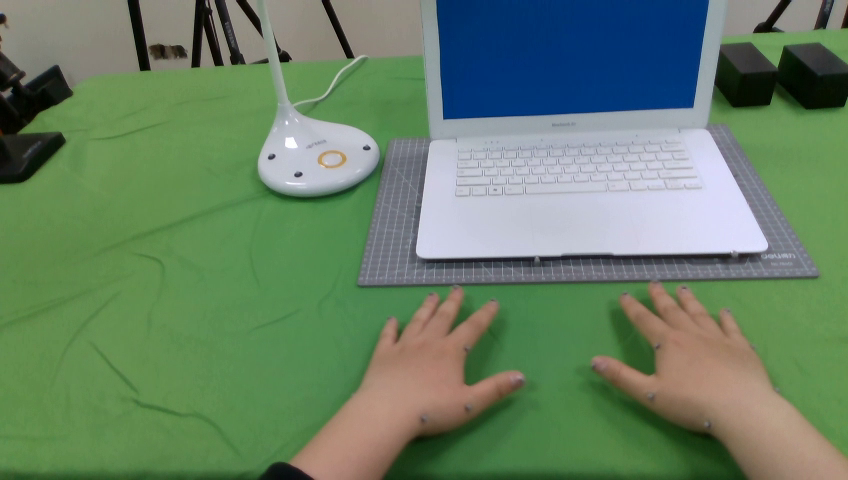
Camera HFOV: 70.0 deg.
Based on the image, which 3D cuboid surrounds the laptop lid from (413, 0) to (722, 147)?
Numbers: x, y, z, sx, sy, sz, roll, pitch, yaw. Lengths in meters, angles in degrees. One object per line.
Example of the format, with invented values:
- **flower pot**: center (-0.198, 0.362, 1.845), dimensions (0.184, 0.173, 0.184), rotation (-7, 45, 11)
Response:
- **laptop lid**: center (0.168, -0.225, 0.731), dimensions (0.356, 0.244, 0.013), rotation (-3, 31, 6)

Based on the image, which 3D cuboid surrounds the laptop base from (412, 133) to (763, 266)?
- **laptop base**: center (0.169, -0.049, 0.702), dimensions (0.354, 0.023, 0.233), rotation (-2, 42, 6)

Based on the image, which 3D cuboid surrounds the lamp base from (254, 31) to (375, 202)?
- **lamp base**: center (-0.160, -0.163, 0.761), dimensions (0.177, 0.182, 0.160), rotation (25, 48, 37)
